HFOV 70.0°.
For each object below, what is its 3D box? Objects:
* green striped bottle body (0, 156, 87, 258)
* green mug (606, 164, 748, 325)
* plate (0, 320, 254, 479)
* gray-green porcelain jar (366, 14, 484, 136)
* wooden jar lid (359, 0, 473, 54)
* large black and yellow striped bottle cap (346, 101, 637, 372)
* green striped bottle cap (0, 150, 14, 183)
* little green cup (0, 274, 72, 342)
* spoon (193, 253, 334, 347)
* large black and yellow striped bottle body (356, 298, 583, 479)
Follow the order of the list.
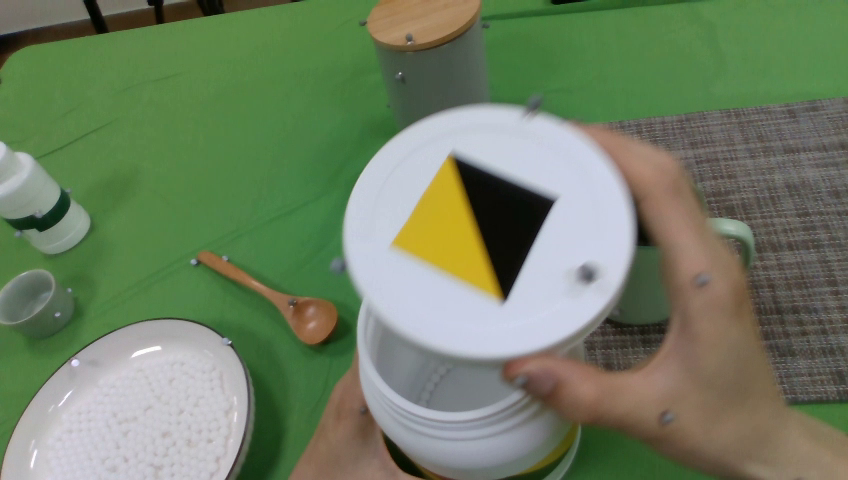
[{"bbox_3d":[-0.412,-0.038,0.623,0.063,0.120,0.062,-6,53,9],"label":"green striped bottle body"},{"bbox_3d":[0.178,0.006,0.462,0.125,0.106,0.092,3,55,15],"label":"green mug"},{"bbox_3d":[-0.232,0.163,0.487,0.209,0.038,0.207,-6,53,8],"label":"plate"},{"bbox_3d":[0.005,-0.164,0.615,0.106,0.128,0.105,-6,49,8],"label":"gray-green porcelain jar"},{"bbox_3d":[-0.006,-0.205,0.568,0.108,0.021,0.107,-8,51,11],"label":"wooden jar lid"},{"bbox_3d":[0.026,-0.005,0.243,0.115,0.019,0.114,-4,65,8],"label":"large black and yellow striped bottle cap"},{"bbox_3d":[-0.422,-0.069,0.583,0.044,0.020,0.044,-4,55,6],"label":"green striped bottle cap"},{"bbox_3d":[-0.379,0.068,0.590,0.061,0.039,0.061,-6,52,9],"label":"little green cup"},{"bbox_3d":[-0.155,0.047,0.564,0.192,0.022,0.041,24,79,27],"label":"spoon"},{"bbox_3d":[0.033,0.089,0.386,0.130,0.186,0.129,-6,57,9],"label":"large black and yellow striped bottle body"}]
